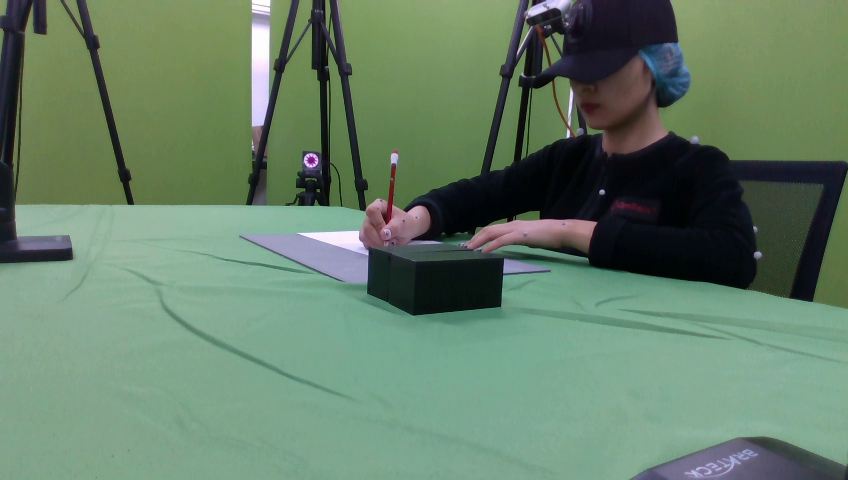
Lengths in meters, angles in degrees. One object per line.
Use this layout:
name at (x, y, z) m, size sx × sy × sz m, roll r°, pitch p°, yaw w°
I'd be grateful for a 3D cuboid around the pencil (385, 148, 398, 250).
pencil at (-0.051, -0.066, 0.933) m, size 0.012 × 0.193 × 0.012 m, roll 2°, pitch -32°, yaw 1°
